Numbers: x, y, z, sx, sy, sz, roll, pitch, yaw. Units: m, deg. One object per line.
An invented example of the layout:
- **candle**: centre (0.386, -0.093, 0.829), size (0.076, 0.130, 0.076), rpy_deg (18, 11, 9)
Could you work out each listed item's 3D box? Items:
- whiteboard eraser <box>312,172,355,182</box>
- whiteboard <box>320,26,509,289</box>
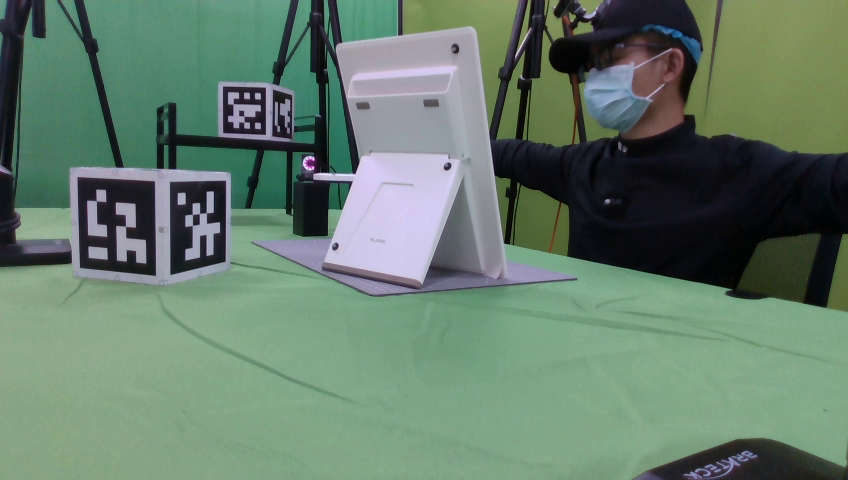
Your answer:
- **whiteboard eraser**: centre (-0.165, -0.121, 1.155), size (0.102, 0.019, 0.041), rpy_deg (-2, 7, -34)
- **whiteboard**: centre (-0.046, -0.076, 0.721), size (0.216, 0.305, 0.144), rpy_deg (9, 29, 39)
